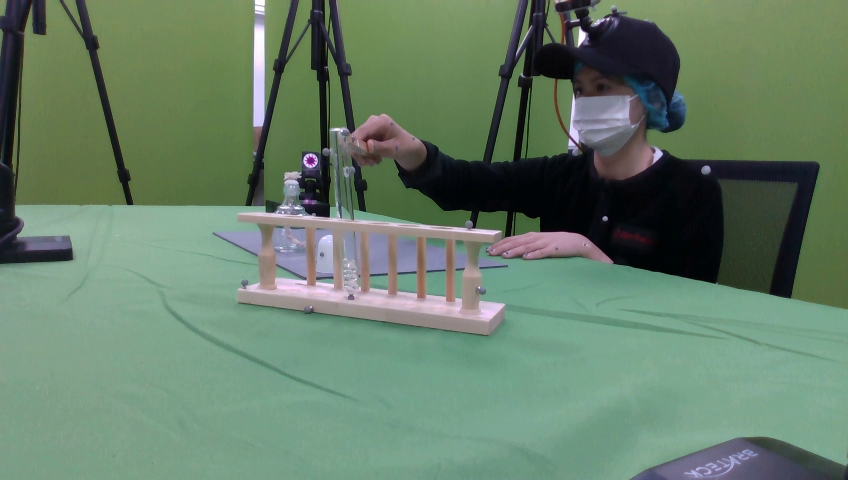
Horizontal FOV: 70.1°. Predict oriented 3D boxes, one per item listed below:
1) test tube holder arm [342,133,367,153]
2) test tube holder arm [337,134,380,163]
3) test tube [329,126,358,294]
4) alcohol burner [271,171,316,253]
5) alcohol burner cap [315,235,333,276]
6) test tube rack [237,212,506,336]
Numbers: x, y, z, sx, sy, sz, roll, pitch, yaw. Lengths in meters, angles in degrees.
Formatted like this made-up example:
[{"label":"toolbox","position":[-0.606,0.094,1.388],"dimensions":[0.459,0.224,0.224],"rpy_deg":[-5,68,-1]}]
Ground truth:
[{"label":"test tube holder arm","position":[-0.092,-0.129,0.812],"dimensions":[0.010,0.015,0.088],"rpy_deg":[-2,-1,10]},{"label":"test tube holder arm","position":[-0.090,-0.128,0.858],"dimensions":[0.013,0.015,0.178],"rpy_deg":[-2,-1,9]},{"label":"test tube","position":[-0.071,-0.025,0.534],"dimensions":[0.017,0.150,0.017],"rpy_deg":[-3,10,1]},{"label":"alcohol burner","position":[-0.196,-0.041,0.884],"dimensions":[0.078,0.119,0.078],"rpy_deg":[3,5,0]},{"label":"alcohol burner cap","position":[-0.116,0.018,0.728],"dimensions":[0.034,0.048,0.034],"rpy_deg":[3,6,0]},{"label":"test tube rack","position":[-0.049,0.024,0.552],"dimensions":[0.242,0.085,0.067],"rpy_deg":[5,8,18]}]
